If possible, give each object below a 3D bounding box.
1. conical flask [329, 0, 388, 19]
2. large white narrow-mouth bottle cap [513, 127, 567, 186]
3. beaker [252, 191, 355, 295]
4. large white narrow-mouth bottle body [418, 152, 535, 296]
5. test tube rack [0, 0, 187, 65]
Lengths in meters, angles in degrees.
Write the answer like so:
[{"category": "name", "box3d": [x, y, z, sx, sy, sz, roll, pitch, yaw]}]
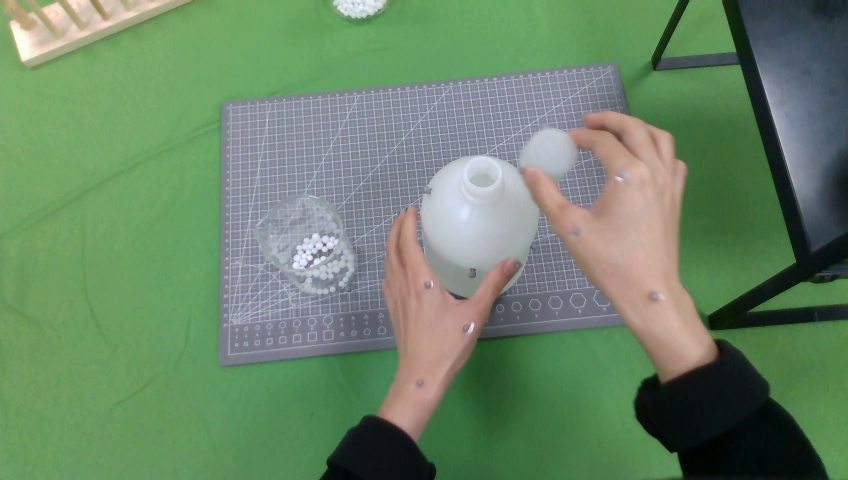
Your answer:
[{"category": "conical flask", "box3d": [-0.080, -0.314, 0.676, 0.075, 0.122, 0.075, -1, 70, 2]}, {"category": "large white narrow-mouth bottle cap", "box3d": [0.081, -0.057, 0.422, 0.038, 0.024, 0.037, -1, 72, 3]}, {"category": "beaker", "box3d": [-0.110, 0.008, 0.577, 0.084, 0.101, 0.073, 5, 70, 4]}, {"category": "large white narrow-mouth bottle body", "box3d": [0.046, -0.019, 0.532, 0.102, 0.196, 0.101, -1, 71, 4]}, {"category": "test tube rack", "box3d": [-0.376, -0.300, 0.699, 0.242, 0.086, 0.066, -26, 72, -7]}]
